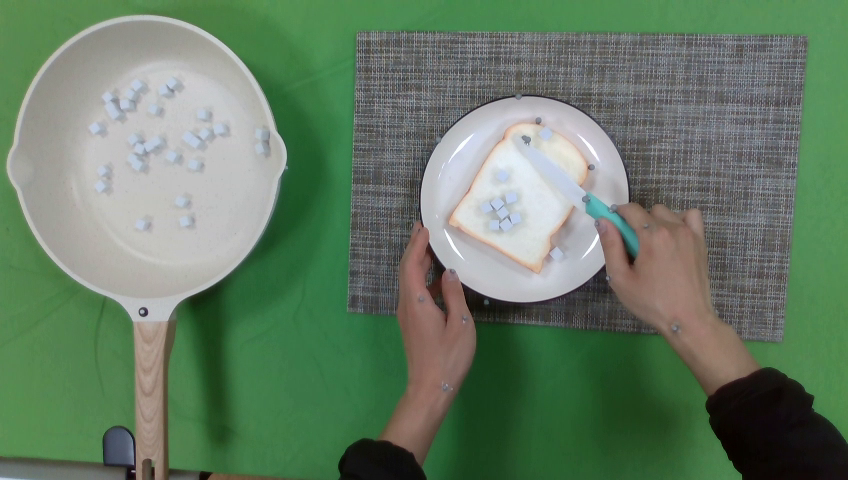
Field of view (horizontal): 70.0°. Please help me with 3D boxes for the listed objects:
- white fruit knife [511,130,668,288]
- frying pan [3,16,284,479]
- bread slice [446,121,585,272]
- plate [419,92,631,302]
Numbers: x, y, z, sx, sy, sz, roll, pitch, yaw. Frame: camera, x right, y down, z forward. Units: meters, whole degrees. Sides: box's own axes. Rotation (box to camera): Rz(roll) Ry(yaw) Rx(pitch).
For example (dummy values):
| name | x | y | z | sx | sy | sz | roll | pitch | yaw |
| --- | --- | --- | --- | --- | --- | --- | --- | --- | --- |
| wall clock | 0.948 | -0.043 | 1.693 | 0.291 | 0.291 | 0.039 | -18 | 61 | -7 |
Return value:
| name | x | y | z | sx | sy | sz | roll | pitch | yaw |
| --- | --- | --- | --- | --- | --- | --- | --- | --- | --- |
| white fruit knife | 0.155 | -0.036 | 0.579 | 0.016 | 0.027 | 0.206 | -34 | 73 | -35 |
| frying pan | -0.286 | 0.022 | 0.638 | 0.306 | 0.103 | 0.486 | -1 | 85 | 8 |
| bread slice | 0.097 | -0.051 | 0.613 | 0.107 | 0.018 | 0.134 | 26 | 96 | 2 |
| plate | 0.100 | -0.042 | 0.615 | 0.207 | 0.039 | 0.207 | 0 | 93 | 8 |
